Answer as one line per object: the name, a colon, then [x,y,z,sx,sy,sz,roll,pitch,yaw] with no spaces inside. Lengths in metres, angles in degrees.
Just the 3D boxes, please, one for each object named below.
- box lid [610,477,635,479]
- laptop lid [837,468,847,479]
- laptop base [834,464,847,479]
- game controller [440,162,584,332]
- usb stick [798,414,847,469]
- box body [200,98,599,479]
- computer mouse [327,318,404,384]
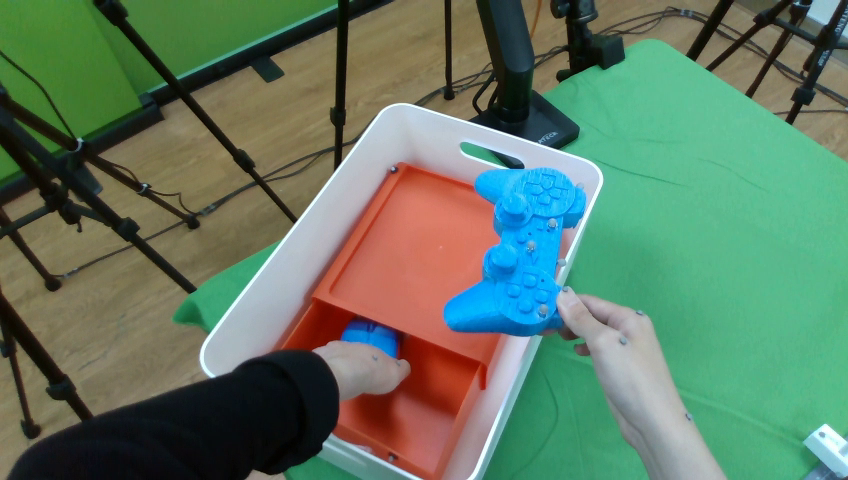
box lid: [0.146,0.400,0.477,0.263,0.015,0.367,-17,57,-8]
laptop lid: [0.452,0.362,0.469,0.241,0.013,0.353,-34,60,-16]
laptop base: [0.454,0.368,0.480,0.235,0.023,0.351,-36,61,-16]
game controller: [0.074,0.000,0.488,0.097,0.052,0.154,12,64,7]
usb stick: [0.395,0.199,0.582,0.021,0.027,0.058,-28,62,-21]
box body: [-0.004,0.054,0.627,0.253,0.162,0.362,21,59,16]
computer mouse: [-0.058,0.109,0.630,0.063,0.041,0.117,4,14,5]
